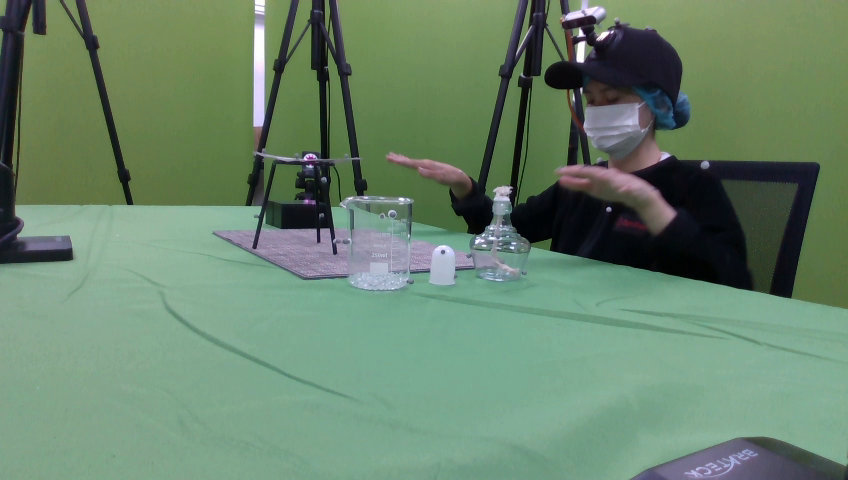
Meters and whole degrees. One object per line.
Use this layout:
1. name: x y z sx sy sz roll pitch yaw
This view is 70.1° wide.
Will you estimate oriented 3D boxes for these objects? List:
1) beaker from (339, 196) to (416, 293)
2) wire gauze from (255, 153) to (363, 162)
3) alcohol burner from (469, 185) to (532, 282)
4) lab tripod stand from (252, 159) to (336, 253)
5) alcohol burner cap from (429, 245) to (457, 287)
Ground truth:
1. beaker: -0.052 0.004 0.661 0.084 0.100 0.073 0 7 -18
2. wire gauze: -0.172 -0.119 0.891 0.122 0.011 0.124 -2 7 -38
3. alcohol burner: 0.096 -0.008 0.752 0.078 0.119 0.078 3 5 0
4. lab tripod stand: -0.180 -0.053 0.900 0.148 0.131 0.148 1 6 0
5. alcohol burner cap: 0.024 0.030 0.705 0.034 0.048 0.034 2 7 0
